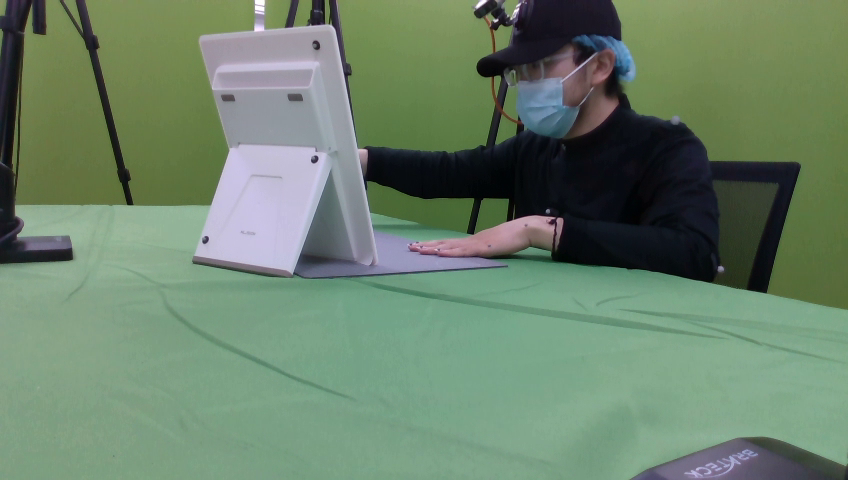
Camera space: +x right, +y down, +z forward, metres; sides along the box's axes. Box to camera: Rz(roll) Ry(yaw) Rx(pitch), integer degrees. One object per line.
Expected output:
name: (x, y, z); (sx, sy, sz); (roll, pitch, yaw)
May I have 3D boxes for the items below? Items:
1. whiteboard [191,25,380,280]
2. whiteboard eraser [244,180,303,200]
whiteboard: (-0.205, -0.085, 0.734); (0.216, 0.305, 0.144); (7, 30, 30)
whiteboard eraser: (-0.318, -0.106, 1.277); (0.113, 0.042, 0.055); (-6, 15, -37)
